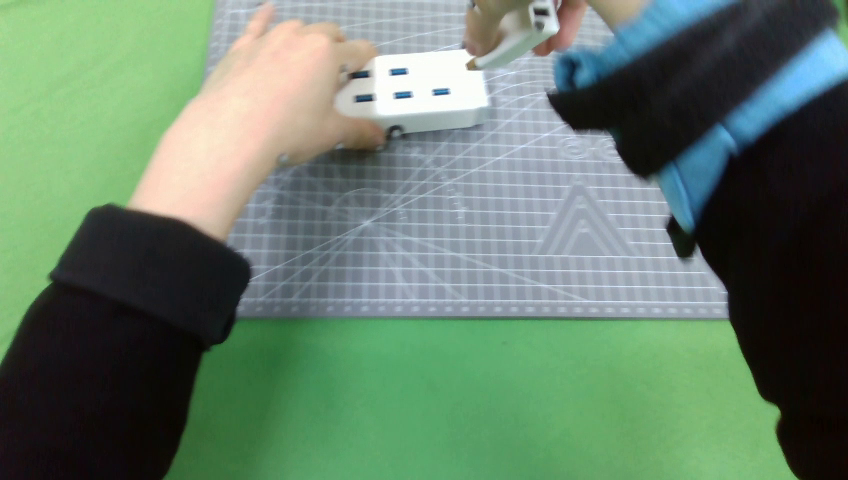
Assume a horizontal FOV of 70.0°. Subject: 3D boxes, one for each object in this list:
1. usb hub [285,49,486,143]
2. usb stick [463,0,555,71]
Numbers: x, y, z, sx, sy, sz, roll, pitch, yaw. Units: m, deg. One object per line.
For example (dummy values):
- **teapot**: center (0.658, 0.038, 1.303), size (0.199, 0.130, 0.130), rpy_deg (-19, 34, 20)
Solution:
- **usb hub**: center (-0.026, -0.096, 0.400), size (0.125, 0.025, 0.049), rpy_deg (-7, 68, -10)
- **usb stick**: center (0.041, -0.112, 0.332), size (0.021, 0.059, 0.027), rpy_deg (-19, 89, -37)
